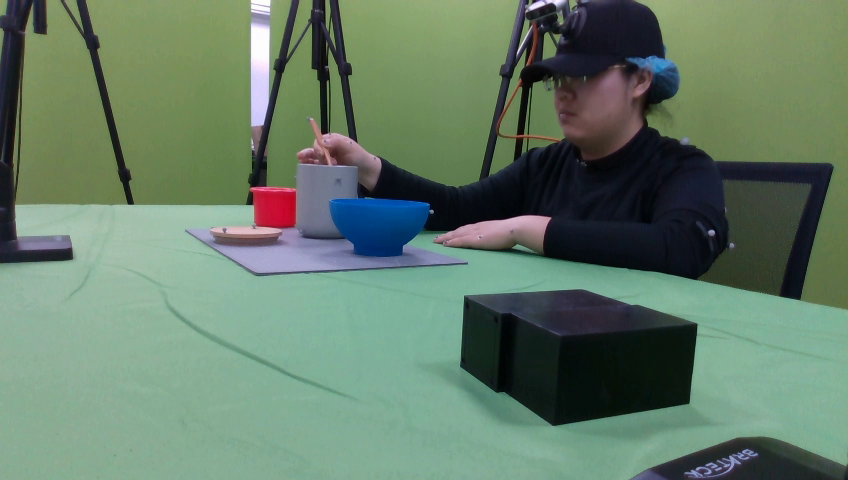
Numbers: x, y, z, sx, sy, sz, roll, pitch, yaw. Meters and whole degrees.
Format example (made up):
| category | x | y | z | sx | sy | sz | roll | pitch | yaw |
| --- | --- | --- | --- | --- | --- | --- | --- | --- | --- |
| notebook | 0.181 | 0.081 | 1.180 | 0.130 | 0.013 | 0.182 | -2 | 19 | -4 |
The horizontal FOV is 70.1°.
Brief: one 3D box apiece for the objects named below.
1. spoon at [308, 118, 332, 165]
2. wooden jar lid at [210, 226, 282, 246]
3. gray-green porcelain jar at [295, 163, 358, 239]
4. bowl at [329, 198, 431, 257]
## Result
| category | x | y | z | sx | sy | sz | roll | pitch | yaw |
| --- | --- | --- | --- | --- | --- | --- | --- | --- | --- |
| spoon | -0.169 | -0.135 | 1.062 | 0.021 | 0.193 | 0.042 | -32 | -20 | 37 |
| wooden jar lid | -0.279 | -0.006 | 0.951 | 0.108 | 0.020 | 0.108 | 2 | 8 | 0 |
| gray-green porcelain jar | -0.170 | -0.069 | 1.054 | 0.106 | 0.126 | 0.106 | 3 | 7 | 0 |
| bowl | -0.066 | -0.019 | 0.894 | 0.151 | 0.077 | 0.151 | 3 | 7 | 0 |
